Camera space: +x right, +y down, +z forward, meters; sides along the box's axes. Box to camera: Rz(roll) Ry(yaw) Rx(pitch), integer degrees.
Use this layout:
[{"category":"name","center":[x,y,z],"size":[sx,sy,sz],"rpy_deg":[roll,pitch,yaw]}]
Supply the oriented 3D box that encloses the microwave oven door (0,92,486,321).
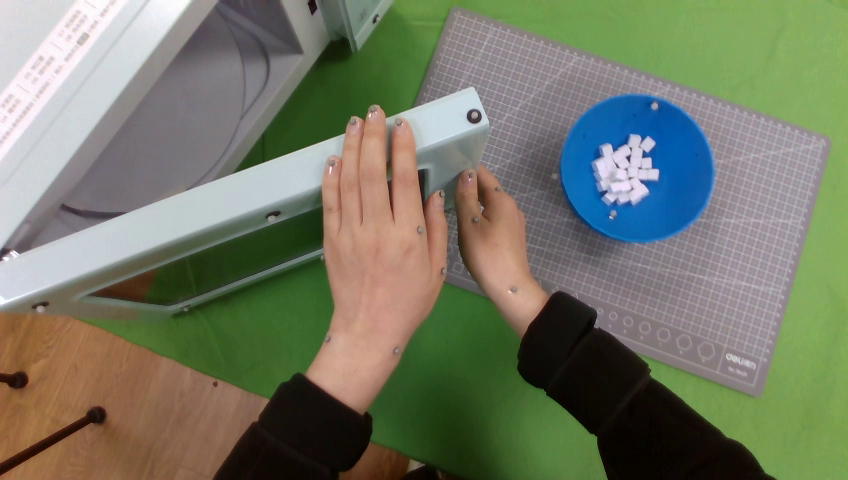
[{"category":"microwave oven door","center":[-0.124,-0.013,0.522],"size":[0.356,0.244,0.039],"rpy_deg":[-21,81,-3]}]

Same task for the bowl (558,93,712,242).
[{"category":"bowl","center":[0.207,-0.067,0.629],"size":[0.151,0.077,0.151],"rpy_deg":[0,82,0]}]

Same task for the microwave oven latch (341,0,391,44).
[{"category":"microwave oven latch","center":[-0.060,-0.255,0.658],"size":[0.030,0.029,0.079],"rpy_deg":[36,84,4]}]

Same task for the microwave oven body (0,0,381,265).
[{"category":"microwave oven body","center":[-0.283,-0.207,0.553],"size":[0.325,0.261,0.441],"rpy_deg":[34,84,4]}]
